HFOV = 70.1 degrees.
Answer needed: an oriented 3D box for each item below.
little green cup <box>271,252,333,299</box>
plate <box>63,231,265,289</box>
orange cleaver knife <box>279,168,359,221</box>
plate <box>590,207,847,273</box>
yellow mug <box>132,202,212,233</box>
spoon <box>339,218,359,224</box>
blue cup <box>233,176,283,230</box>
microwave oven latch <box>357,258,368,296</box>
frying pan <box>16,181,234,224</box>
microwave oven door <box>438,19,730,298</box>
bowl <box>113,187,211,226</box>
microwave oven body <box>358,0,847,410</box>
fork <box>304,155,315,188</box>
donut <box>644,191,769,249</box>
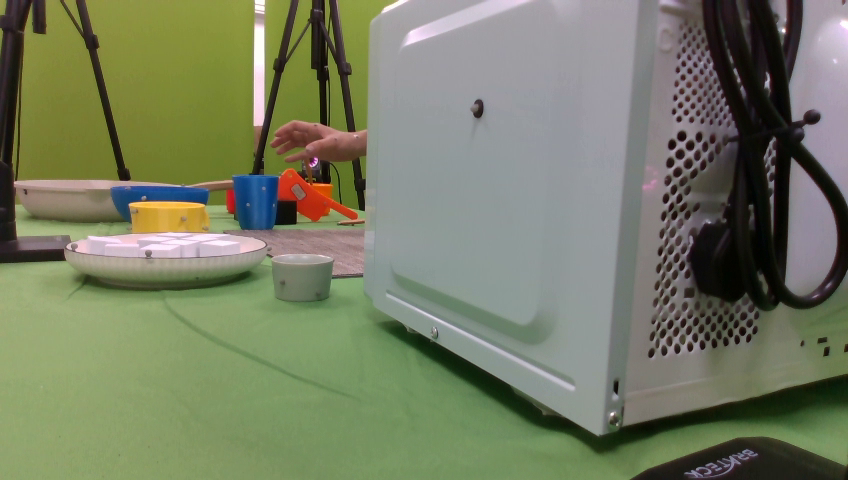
[{"bbox_3d":[-0.122,0.035,0.605,0.061,0.038,0.061,3,7,0],"label":"little green cup"},{"bbox_3d":[-0.288,0.021,0.687,0.208,0.039,0.207,2,8,0],"label":"plate"},{"bbox_3d":[-0.237,-0.083,1.332,0.212,0.077,0.012,31,-9,-31],"label":"orange cleaver knife"},{"bbox_3d":[0.246,-0.002,0.510,0.209,0.038,0.209,3,6,0],"label":"plate"},{"bbox_3d":[-0.356,-0.020,0.878,0.099,0.064,0.131,5,7,22],"label":"yellow mug"},{"bbox_3d":[-0.087,-0.041,1.268,0.193,0.021,0.041,3,21,13],"label":"spoon"},{"bbox_3d":[-0.315,-0.071,1.141,0.093,0.100,0.092,0,6,0],"label":"blue cup"},{"bbox_3d":[-0.019,0.031,0.528,0.079,0.029,0.030,-1,7,-25],"label":"microwave oven latch"},{"bbox_3d":[-0.553,-0.097,1.265,0.490,0.102,0.305,-10,13,-24],"label":"frying pan"},{"bbox_3d":[0.181,-0.076,0.618,0.358,0.243,0.039,-2,8,-28],"label":"microwave oven door"},{"bbox_3d":[-0.436,-0.046,1.013,0.151,0.077,0.151,2,7,0],"label":"bowl"},{"bbox_3d":[0.210,-0.051,0.471,0.444,0.260,0.324,-1,7,-28],"label":"microwave oven body"},{"bbox_3d":[-0.268,-0.134,1.446,0.028,0.018,0.207,1,-36,-1],"label":"fork"},{"bbox_3d":[0.240,-0.017,0.518,0.099,0.048,0.099,2,4,0],"label":"donut"}]
